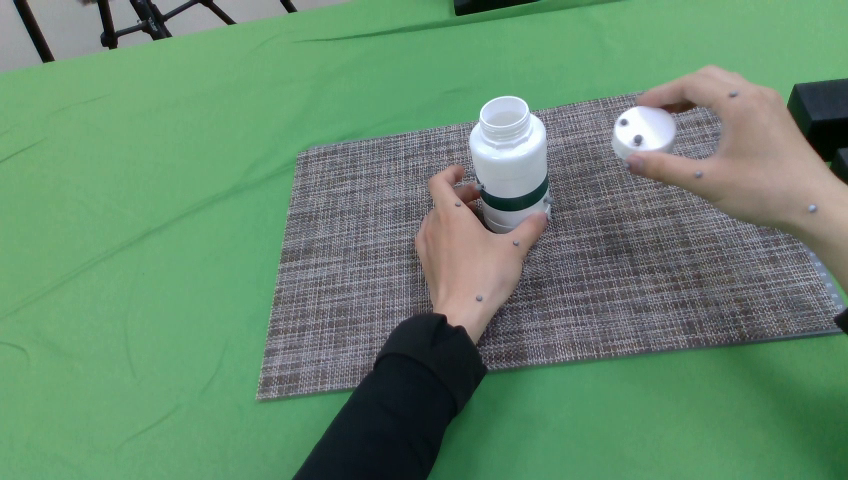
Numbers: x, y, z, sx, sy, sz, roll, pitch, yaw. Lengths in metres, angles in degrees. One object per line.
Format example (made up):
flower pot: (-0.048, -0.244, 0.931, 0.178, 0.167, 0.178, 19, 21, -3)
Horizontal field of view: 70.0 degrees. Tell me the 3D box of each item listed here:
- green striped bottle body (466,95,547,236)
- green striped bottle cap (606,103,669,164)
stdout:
green striped bottle body: (0.071, -0.064, 0.517, 0.063, 0.120, 0.062, -7, 49, 9)
green striped bottle cap: (0.159, -0.080, 0.449, 0.044, 0.020, 0.044, -5, 60, 9)
